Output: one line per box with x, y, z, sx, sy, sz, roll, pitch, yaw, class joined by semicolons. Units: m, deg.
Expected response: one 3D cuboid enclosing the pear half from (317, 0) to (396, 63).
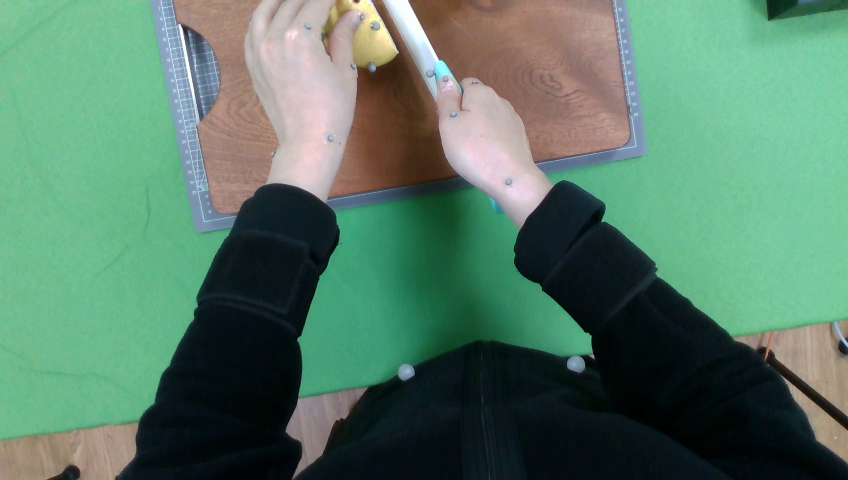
-0.063;-0.186;0.508;0.056;0.110;0.076;-34;86;4;pear half

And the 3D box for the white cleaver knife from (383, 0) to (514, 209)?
0.005;-0.155;0.520;0.021;0.066;0.286;-25;86;-8;white cleaver knife
